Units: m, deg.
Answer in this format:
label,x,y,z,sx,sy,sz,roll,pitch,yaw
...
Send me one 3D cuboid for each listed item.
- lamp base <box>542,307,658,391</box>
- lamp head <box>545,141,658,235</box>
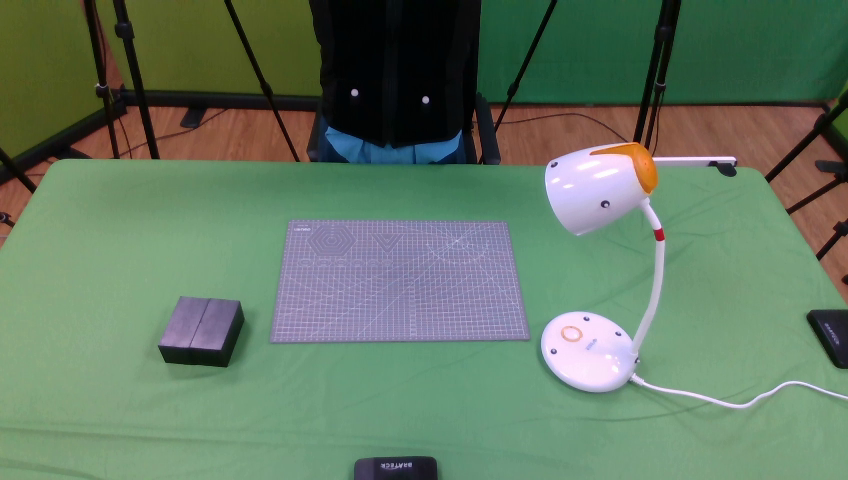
label,x,y,z,sx,sy,sz,roll,pitch,yaw
lamp base,0.296,0.138,0.975,0.178,0.181,0.160,28,51,18
lamp head,0.237,-0.072,0.783,0.123,0.113,0.112,-16,33,37
